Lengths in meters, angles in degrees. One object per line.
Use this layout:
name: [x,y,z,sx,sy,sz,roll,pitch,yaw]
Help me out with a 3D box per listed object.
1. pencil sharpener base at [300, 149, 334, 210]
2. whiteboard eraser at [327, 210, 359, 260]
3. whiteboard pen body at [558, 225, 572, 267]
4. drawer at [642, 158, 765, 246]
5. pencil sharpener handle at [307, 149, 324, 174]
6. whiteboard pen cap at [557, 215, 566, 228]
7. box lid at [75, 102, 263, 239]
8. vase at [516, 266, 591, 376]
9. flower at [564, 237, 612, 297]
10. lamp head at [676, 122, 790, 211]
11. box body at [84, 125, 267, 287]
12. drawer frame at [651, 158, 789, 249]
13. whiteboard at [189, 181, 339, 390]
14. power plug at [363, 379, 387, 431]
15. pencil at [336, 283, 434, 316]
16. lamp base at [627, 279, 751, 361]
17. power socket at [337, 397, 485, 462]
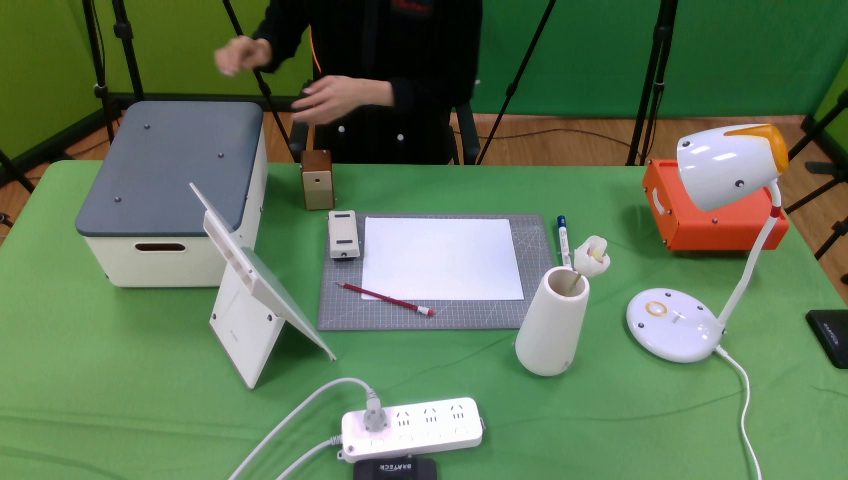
pencil sharpener base: [-0.219,-0.125,1.242,0.061,0.107,0.076,-4,46,-8]
whiteboard eraser: [-0.158,-0.009,1.177,0.055,0.042,0.112,-6,47,-7]
whiteboard pen body: [0.280,0.010,1.207,0.017,0.017,0.140,3,50,-1]
drawer: [0.566,-0.076,1.211,0.212,0.073,0.193,2,45,-2]
pencil sharpener handle: [-0.229,-0.170,1.267,0.036,0.068,0.030,4,45,-16]
whiteboard pen cap: [0.284,-0.034,1.246,0.018,0.018,0.033,4,52,-1]
box lid: [-0.443,-0.138,1.094,0.263,0.015,0.369,-1,47,-5]
vase: [0.208,0.132,0.964,0.098,0.201,0.097,3,46,-3]
flower: [0.206,0.088,0.893,0.038,0.363,0.044,-16,67,-9]
lamp head: [0.423,-0.104,0.819,0.122,0.113,0.112,-13,33,40]
box body: [-0.446,-0.088,1.150,0.254,0.161,0.361,-1,46,-5]
drawer frame: [0.571,-0.075,1.214,0.214,0.083,0.200,0,45,-1]
whiteboard: [-0.292,0.096,0.929,0.144,0.307,0.216,-37,57,-10]
power plug: [-0.072,0.252,0.910,0.035,0.053,0.072,3,45,-1]
pencil: [-0.074,0.105,1.097,0.194,0.012,0.012,16,47,13]
lamp base: [0.459,0.100,1.027,0.178,0.181,0.160,27,51,17]
power socket: [-0.018,0.285,0.915,0.227,0.033,0.071,-5,46,-8]
